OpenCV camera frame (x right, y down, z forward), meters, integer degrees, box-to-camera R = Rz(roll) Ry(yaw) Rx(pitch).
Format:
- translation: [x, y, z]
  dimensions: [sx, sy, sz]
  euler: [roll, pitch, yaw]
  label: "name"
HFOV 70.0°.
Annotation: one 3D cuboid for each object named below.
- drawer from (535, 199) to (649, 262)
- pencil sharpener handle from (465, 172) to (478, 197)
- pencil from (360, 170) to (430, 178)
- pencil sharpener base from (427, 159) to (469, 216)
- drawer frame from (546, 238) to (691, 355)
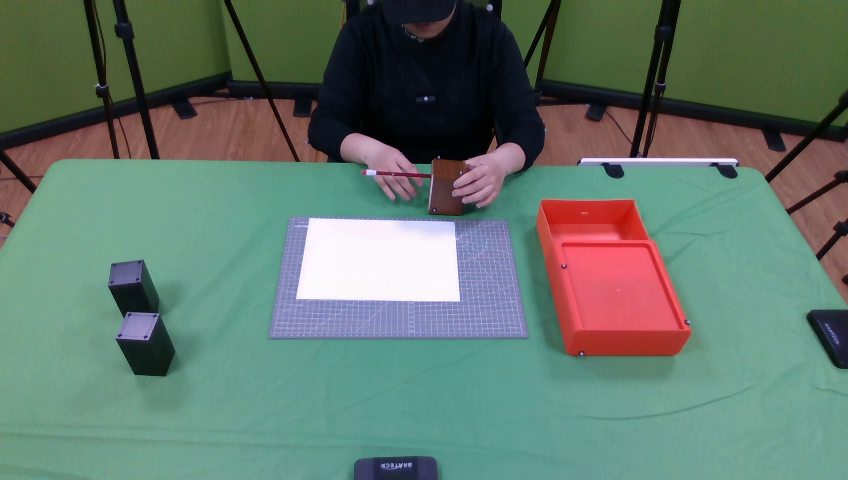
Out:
- translation: [0.332, 0.015, 1.169]
  dimensions: [0.195, 0.073, 0.210]
  euler: [0, 46, -5]
  label: "drawer"
- translation: [0.100, -0.113, 1.241]
  dimensions: [0.031, 0.068, 0.036]
  euler: [4, 51, -3]
  label: "pencil sharpener handle"
- translation: [-0.031, -0.131, 1.222]
  dimensions: [0.194, 0.012, 0.012]
  euler: [3, 45, -3]
  label: "pencil"
- translation: [0.047, -0.106, 1.245]
  dimensions: [0.077, 0.107, 0.061]
  euler: [4, 44, -3]
  label: "pencil sharpener base"
- translation: [0.338, 0.097, 1.086]
  dimensions: [0.202, 0.083, 0.212]
  euler: [0, 46, -4]
  label: "drawer frame"
